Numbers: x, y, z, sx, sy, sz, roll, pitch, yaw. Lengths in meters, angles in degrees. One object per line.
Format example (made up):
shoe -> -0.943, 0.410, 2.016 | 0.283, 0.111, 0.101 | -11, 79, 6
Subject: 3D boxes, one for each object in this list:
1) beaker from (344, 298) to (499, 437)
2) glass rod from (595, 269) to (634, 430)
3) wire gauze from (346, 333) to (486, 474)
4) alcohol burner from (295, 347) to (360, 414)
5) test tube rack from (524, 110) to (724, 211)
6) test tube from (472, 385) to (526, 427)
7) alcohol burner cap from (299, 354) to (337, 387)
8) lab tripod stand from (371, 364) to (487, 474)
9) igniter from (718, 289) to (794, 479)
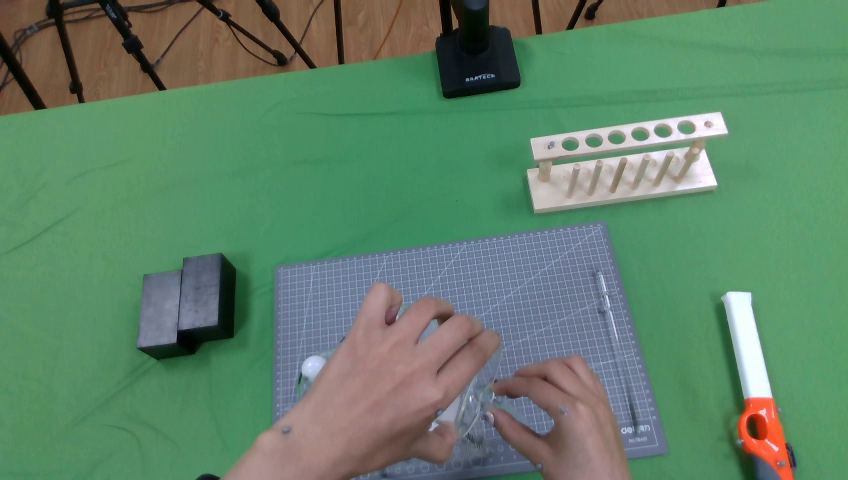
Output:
beaker -> -0.002, 0.093, 0.463 | 0.099, 0.084, 0.074 | 23, 78, 20
glass rod -> 0.229, 0.127, 0.730 | 0.008, 0.008, 0.198 | -6, 66, 2
wire gauze -> -0.011, 0.157, 0.594 | 0.125, 0.011, 0.120 | -11, 62, 0
alcohol burner -> -0.114, 0.155, 0.692 | 0.078, 0.120, 0.077 | -3, 62, 5
test tube rack -> 0.260, -0.102, 0.799 | 0.242, 0.086, 0.066 | -8, 63, 2
test tube -> 0.071, 0.152, 0.548 | 0.017, 0.152, 0.017 | -8, 64, 18
alcohol burner cap -> -0.117, 0.140, 0.659 | 0.034, 0.048, 0.033 | -3, 68, 9
lab tripod stand -> -0.004, 0.190, 0.653 | 0.148, 0.132, 0.147 | -3, 63, 6
igniter -> 0.373, 0.186, 0.681 | 0.057, 0.025, 0.274 | 3, 64, -4
